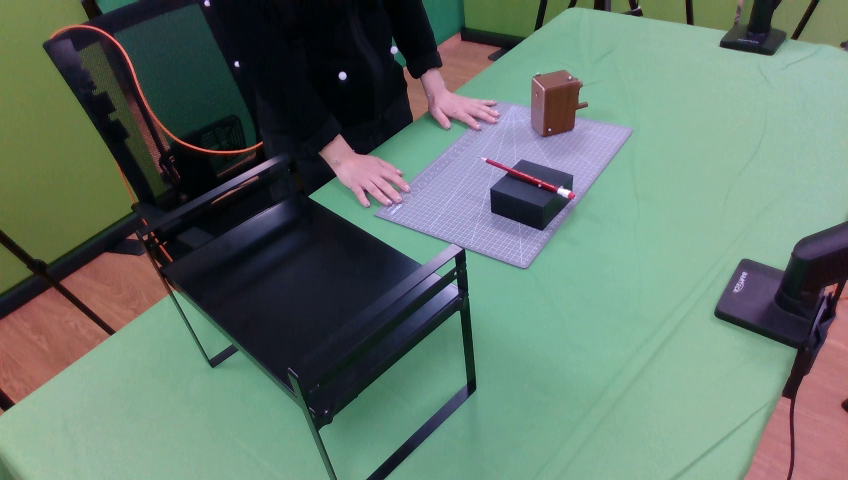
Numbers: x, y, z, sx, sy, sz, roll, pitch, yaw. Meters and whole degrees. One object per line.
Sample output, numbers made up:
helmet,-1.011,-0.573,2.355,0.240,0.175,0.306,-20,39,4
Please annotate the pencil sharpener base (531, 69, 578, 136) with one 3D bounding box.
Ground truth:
pencil sharpener base,0.256,-0.268,1.179,0.077,0.107,0.061,-15,41,-9

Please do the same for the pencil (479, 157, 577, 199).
pencil,0.167,-0.106,1.001,0.192,0.012,0.012,28,52,33

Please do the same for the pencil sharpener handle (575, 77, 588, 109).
pencil sharpener handle,0.304,-0.289,1.178,0.031,0.068,0.035,-15,33,-9
